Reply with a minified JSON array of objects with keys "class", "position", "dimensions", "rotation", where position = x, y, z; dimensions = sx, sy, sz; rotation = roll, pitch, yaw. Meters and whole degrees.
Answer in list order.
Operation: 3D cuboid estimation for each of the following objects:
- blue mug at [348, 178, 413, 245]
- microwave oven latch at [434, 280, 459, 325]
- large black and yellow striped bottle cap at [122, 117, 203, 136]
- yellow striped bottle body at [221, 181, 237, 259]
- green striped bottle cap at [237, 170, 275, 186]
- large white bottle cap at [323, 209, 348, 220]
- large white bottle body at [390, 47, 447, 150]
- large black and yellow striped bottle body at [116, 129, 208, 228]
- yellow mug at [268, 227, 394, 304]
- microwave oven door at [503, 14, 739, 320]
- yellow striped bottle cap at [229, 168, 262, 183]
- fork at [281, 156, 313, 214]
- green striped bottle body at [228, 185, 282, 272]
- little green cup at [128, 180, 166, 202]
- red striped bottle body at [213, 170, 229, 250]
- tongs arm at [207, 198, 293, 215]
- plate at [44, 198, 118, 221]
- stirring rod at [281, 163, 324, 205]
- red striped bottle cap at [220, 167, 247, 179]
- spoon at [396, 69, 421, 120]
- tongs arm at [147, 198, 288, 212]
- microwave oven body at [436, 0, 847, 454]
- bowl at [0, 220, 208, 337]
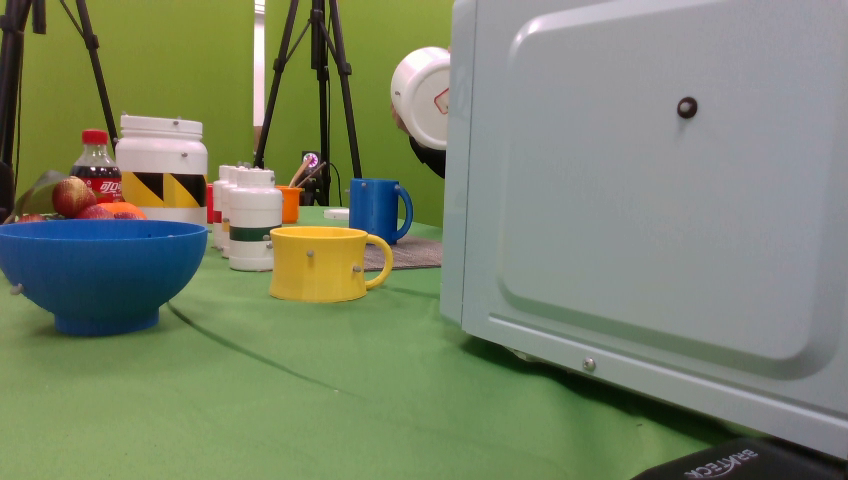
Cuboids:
[{"class":"blue mug","position":[-0.070,-0.047,1.003],"dimensions":[0.116,0.106,0.082],"rotation":[7,9,26]},{"class":"microwave oven latch","position":[0.044,0.045,0.470],"dimensions":[0.079,0.029,0.030],"rotation":[-2,8,-39]},{"class":"large black and yellow striped bottle cap","position":[-0.399,-0.174,0.927],"dimensions":[0.115,0.019,0.115],"rotation":[5,9,-1]},{"class":"yellow striped bottle body","position":[-0.244,-0.035,0.823],"dimensions":[0.063,0.120,0.063],"rotation":[2,8,0]},{"class":"green striped bottle cap","position":[-0.205,-0.075,0.737],"dimensions":[0.044,0.020,0.044],"rotation":[1,6,0]},{"class":"large white bottle cap","position":[-0.184,-0.062,1.449],"dimensions":[0.115,0.018,0.115],"rotation":[2,8,0]},{"class":"large white bottle body","position":[0.017,-0.223,0.929],"dimensions":[0.131,0.130,0.184],"rotation":[1,24,-11]},{"class":"large black and yellow striped bottle body","position":[-0.404,-0.089,0.937],"dimensions":[0.131,0.184,0.130],"rotation":[3,7,0]},{"class":"yellow mug","position":[-0.094,0.023,0.629],"dimensions":[0.131,0.064,0.099],"rotation":[0,7,-22]},{"class":"microwave oven door","position":[0.217,-0.065,0.600],"dimensions":[0.358,0.243,0.039],"rotation":[-4,10,-41]},{"class":"yellow striped bottle cap","position":[-0.241,-0.087,0.816],"dimensions":[0.044,0.018,0.044],"rotation":[-2,5,1]},{"class":"fork","position":[-0.289,-0.116,1.320],"dimensions":[0.028,0.019,0.207],"rotation":[-2,48,27]},{"class":"green striped bottle body","position":[-0.208,-0.023,0.745],"dimensions":[0.063,0.119,0.063],"rotation":[2,7,0]},{"class":"little green cup","position":[-0.485,-0.087,1.062],"dimensions":[0.061,0.038,0.061],"rotation":[-1,6,0]},{"class":"red striped bottle body","position":[-0.283,-0.047,0.909],"dimensions":[0.063,0.119,0.063],"rotation":[3,14,0]},{"class":"tongs arm","position":[-0.423,-0.084,1.473],"dimensions":[0.050,0.026,0.386],"rotation":[1,6,21]},{"class":"plate","position":[-0.617,-0.056,1.179],"dimensions":[0.209,0.038,0.209],"rotation":[3,7,0]},{"class":"stirring rod","position":[-0.278,-0.105,1.294],"dimensions":[0.176,0.006,0.014],"rotation":[-47,25,-18]},{"class":"red striped bottle cap","position":[-0.281,-0.099,0.901],"dimensions":[0.044,0.017,0.044],"rotation":[-1,5,0]},{"class":"spoon","position":[-0.028,-0.249,1.010],"dimensions":[0.022,0.041,0.193],"rotation":[-1,33,-9]},{"class":"tongs arm","position":[-0.503,-0.090,1.513],"dimensions":[0.028,0.028,0.389],"rotation":[-1,3,38]},{"class":"microwave oven body","position":[0.279,-0.040,0.464],"dimensions":[0.444,0.260,0.324],"rotation":[-3,9,-41]},{"class":"bowl","position":[-0.251,0.029,0.479],"dimensions":[0.151,0.077,0.151],"rotation":[2,7,0]}]
